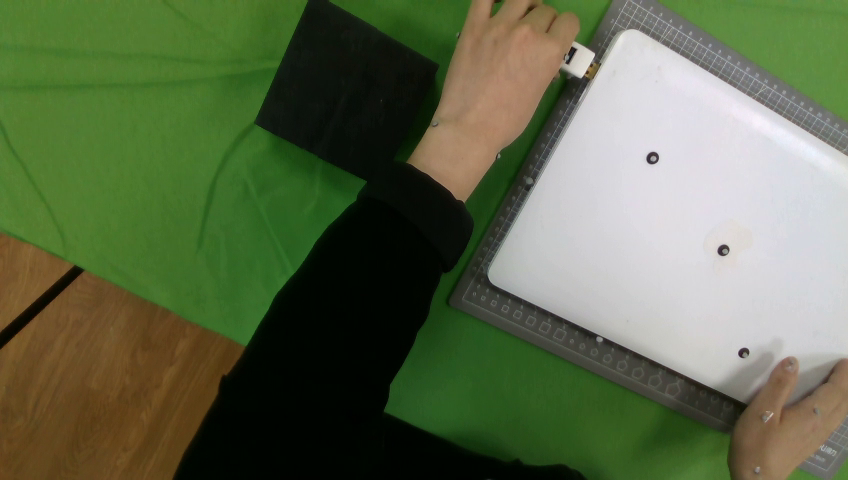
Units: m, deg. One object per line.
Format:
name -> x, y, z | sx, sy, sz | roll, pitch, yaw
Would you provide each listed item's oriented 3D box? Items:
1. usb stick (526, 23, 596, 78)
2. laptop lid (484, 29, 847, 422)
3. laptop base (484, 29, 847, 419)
usb stick -> 0.110, -0.144, 0.470 | 0.059, 0.027, 0.021 | 24, 111, -21
laptop lid -> 0.256, 0.008, 0.528 | 0.358, 0.013, 0.242 | 27, 103, -12
laptop base -> 0.256, 0.003, 0.539 | 0.356, 0.023, 0.236 | 25, 105, -12
